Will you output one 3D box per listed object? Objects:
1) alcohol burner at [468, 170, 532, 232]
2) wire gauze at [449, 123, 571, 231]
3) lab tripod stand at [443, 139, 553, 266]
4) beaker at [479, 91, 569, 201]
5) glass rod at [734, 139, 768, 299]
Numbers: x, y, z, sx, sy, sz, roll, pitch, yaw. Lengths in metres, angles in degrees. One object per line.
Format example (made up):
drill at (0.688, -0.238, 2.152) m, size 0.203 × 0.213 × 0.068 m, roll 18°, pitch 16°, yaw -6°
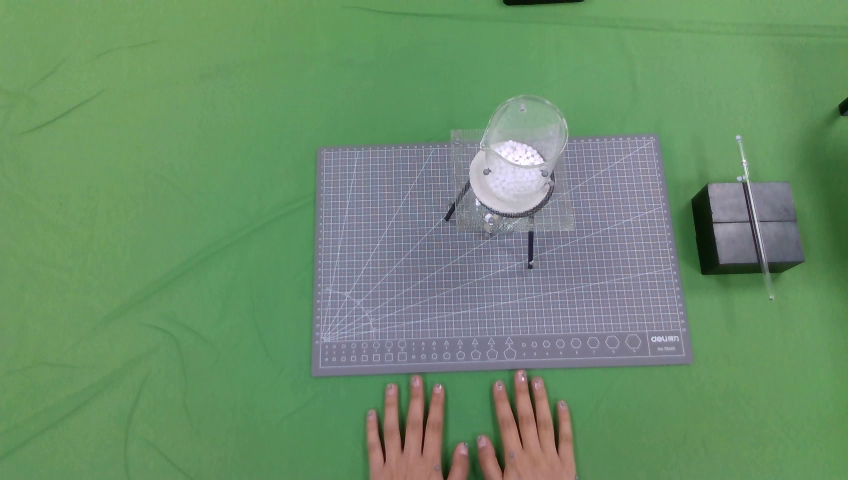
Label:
alcohol burner at (0.091, -0.053, 0.716) m, size 0.078 × 0.119 × 0.077 m, roll 0°, pitch 74°, yaw 0°
wire gauze at (0.090, -0.067, 0.641) m, size 0.125 × 0.011 × 0.121 m, roll 0°, pitch 74°, yaw -2°
lab tripod stand at (0.095, -0.052, 0.705) m, size 0.148 × 0.132 × 0.147 m, roll 0°, pitch 71°, yaw 2°
beaker at (0.092, -0.086, 0.597) m, size 0.084 × 0.101 × 0.073 m, roll -18°, pitch 73°, yaw -4°
glass rod at (0.384, -0.028, 0.713) m, size 0.008 × 0.008 × 0.198 m, roll -2°, pitch 74°, yaw 1°
